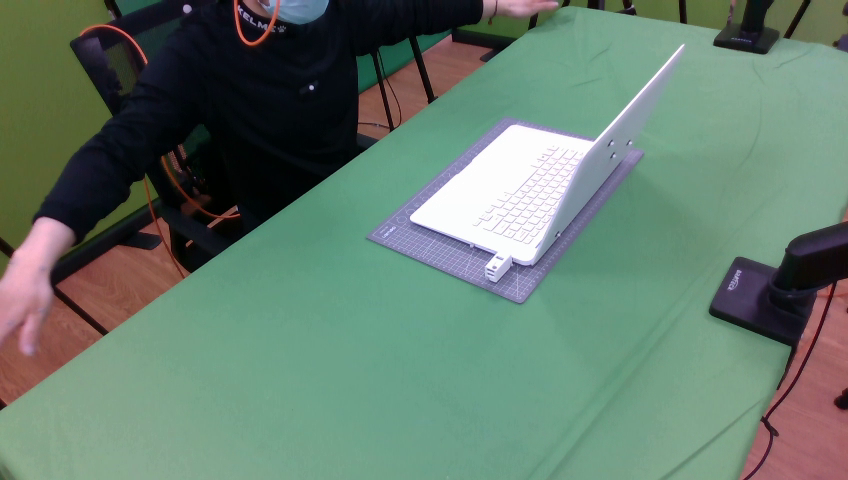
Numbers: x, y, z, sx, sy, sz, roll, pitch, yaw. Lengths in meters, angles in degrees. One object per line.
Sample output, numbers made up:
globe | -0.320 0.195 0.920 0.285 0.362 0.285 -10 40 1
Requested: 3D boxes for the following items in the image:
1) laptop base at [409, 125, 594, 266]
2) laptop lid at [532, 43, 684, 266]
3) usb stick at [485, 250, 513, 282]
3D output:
laptop base | 0.168 -0.094 1.056 0.233 0.023 0.355 20 47 32
laptop lid | 0.280 -0.130 0.907 0.013 0.242 0.357 34 52 17
usb stick | 0.116 0.034 0.895 0.021 0.027 0.059 22 47 32
